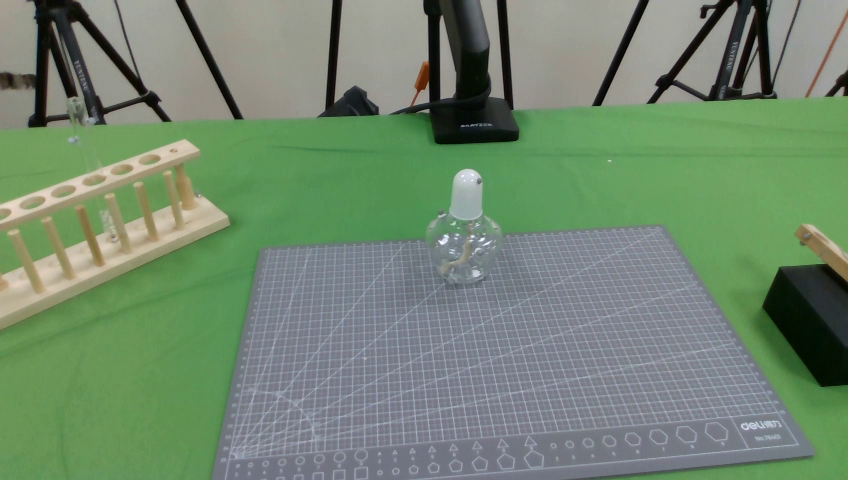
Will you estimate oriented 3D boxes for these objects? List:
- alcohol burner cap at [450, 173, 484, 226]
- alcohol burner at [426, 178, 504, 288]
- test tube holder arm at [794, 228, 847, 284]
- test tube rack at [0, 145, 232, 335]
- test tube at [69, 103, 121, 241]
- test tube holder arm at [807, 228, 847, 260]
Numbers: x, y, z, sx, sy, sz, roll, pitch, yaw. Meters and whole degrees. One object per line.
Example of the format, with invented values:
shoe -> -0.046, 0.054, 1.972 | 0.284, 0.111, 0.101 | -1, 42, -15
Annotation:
alcohol burner cap -> 0.042, -0.041, 0.571 | 0.034, 0.048, 0.033 | 2, 36, -1
alcohol burner -> 0.041, -0.012, 0.593 | 0.078, 0.120, 0.077 | 1, 39, 0
test tube holder arm -> 0.374, 0.020, 0.553 | 0.010, 0.015, 0.087 | -5, 38, -14
test tube rack -> -0.329, -0.009, 0.617 | 0.242, 0.086, 0.066 | -30, 46, -33
test tube -> -0.328, -0.064, 0.608 | 0.017, 0.151, 0.017 | 2, 32, -1
test tube holder arm -> 0.391, 0.046, 0.521 | 0.013, 0.015, 0.176 | -6, 38, -15
